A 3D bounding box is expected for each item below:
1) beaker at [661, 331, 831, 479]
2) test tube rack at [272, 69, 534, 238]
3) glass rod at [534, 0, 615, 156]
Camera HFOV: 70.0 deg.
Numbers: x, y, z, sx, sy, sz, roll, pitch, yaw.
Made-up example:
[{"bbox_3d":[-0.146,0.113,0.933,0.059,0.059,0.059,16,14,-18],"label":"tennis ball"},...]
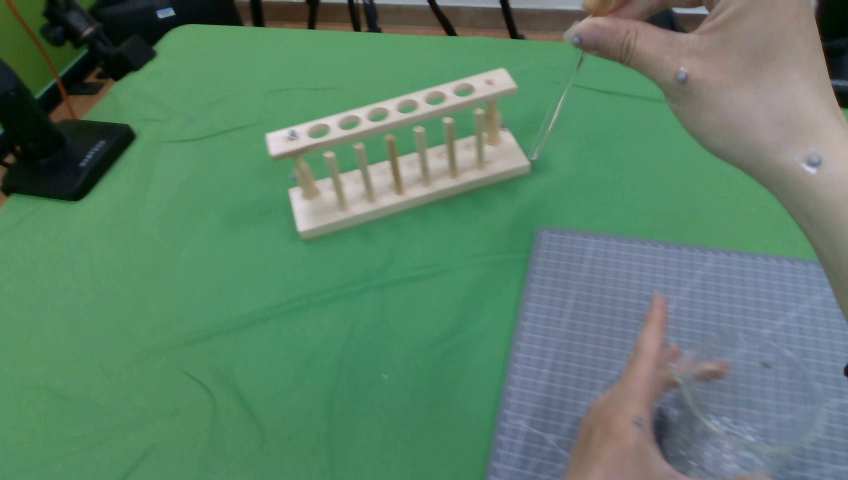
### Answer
[{"bbox_3d":[0.190,0.114,0.380,0.083,0.101,0.073,16,54,22],"label":"beaker"},{"bbox_3d":[-0.016,-0.085,0.598,0.242,0.086,0.066,-17,49,-6],"label":"test tube rack"},{"bbox_3d":[0.088,-0.106,0.316,0.008,0.201,0.008,4,60,-6],"label":"glass rod"}]
